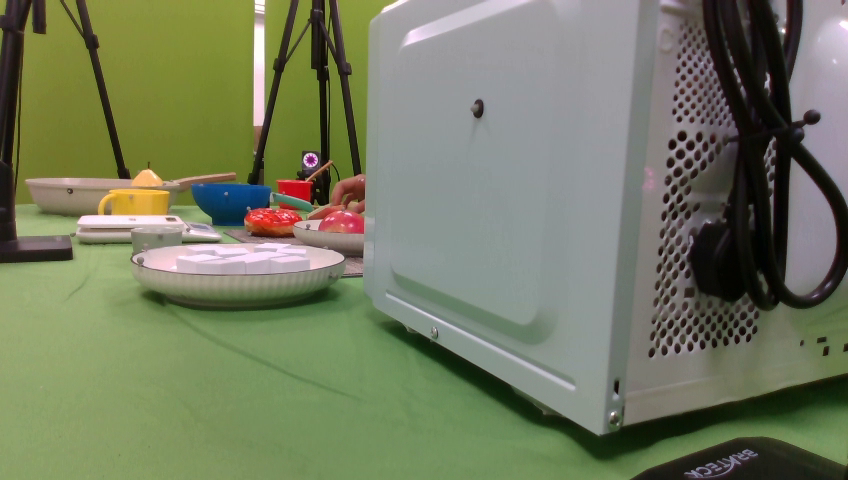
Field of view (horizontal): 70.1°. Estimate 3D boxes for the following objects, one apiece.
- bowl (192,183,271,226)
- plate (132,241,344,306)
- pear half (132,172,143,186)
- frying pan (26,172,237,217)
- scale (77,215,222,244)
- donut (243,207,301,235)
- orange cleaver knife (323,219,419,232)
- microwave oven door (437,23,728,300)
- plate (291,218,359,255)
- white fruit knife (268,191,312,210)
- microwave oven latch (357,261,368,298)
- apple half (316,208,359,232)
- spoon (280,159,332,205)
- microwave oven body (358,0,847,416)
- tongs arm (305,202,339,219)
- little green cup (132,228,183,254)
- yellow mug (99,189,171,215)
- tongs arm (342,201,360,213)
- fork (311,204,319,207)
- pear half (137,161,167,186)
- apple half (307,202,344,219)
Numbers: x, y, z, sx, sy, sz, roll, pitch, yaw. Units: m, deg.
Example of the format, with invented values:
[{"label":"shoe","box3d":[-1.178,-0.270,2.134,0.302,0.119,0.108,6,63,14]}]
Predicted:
[{"label":"bowl","box3d":[-0.382,-0.071,1.202,0.151,0.077,0.151,3,7,0]},{"label":"plate","box3d":[-0.187,0.033,0.625,0.208,0.039,0.207,2,8,0]},{"label":"pear half","box3d":[-0.638,-0.113,1.361,0.031,0.088,0.070,5,10,4]},{"label":"frying pan","box3d":[-0.624,-0.118,1.387,0.305,0.102,0.490,8,17,32]},{"label":"scale","box3d":[-0.434,-0.019,0.963,0.202,0.031,0.148,-1,9,-27]},{"label":"donut","box3d":[-0.261,-0.032,1.043,0.099,0.048,0.099,4,9,0]},{"label":"orange cleaver knife","box3d":[-0.096,-0.027,1.152,0.077,0.012,0.212,1,6,41]},{"label":"microwave oven door","box3d":[0.181,-0.072,0.621,0.358,0.243,0.039,-2,8,-29]},{"label":"plate","box3d":[-0.098,-0.007,0.928,0.209,0.038,0.209,2,7,0]},{"label":"white fruit knife","box3d":[-0.364,-0.105,1.464,0.208,0.027,0.016,15,0,-34]},{"label":"microwave oven latch","box3d":[-0.019,0.033,0.530,0.079,0.029,0.030,-1,7,-26]},{"label":"apple half","box3d":[-0.122,-0.020,0.901,0.080,0.053,0.075,5,11,22]},{"label":"spoon","box3d":[-0.316,-0.159,1.640,0.194,0.022,0.041,-50,32,-20]},{"label":"microwave oven body","box3d":[0.211,-0.047,0.474,0.444,0.260,0.324,-1,7,-28]},{"label":"tongs arm","box3d":[-0.235,-0.068,1.414,0.028,0.028,0.387,-5,6,1]},{"label":"little green cup","box3d":[-0.342,0.006,0.779,0.061,0.038,0.061,2,8,0]},{"label":"yellow mug","box3d":[-0.519,-0.055,1.080,0.099,0.064,0.131,7,9,26]},{"label":"tongs arm","box3d":[-0.149,-0.069,1.430,0.051,0.026,0.383,-3,7,-15]},{"label":"fork","box3d":[-0.356,-0.105,1.526,0.208,0.018,0.028,16,-6,-41]},{"label":"pear half","box3d":[-0.602,-0.120,1.354,0.056,0.110,0.076,4,11,6]},{"label":"apple half","box3d":[-0.193,-0.047,1.224,0.081,0.033,0.081,-22,-5,-2]}]
